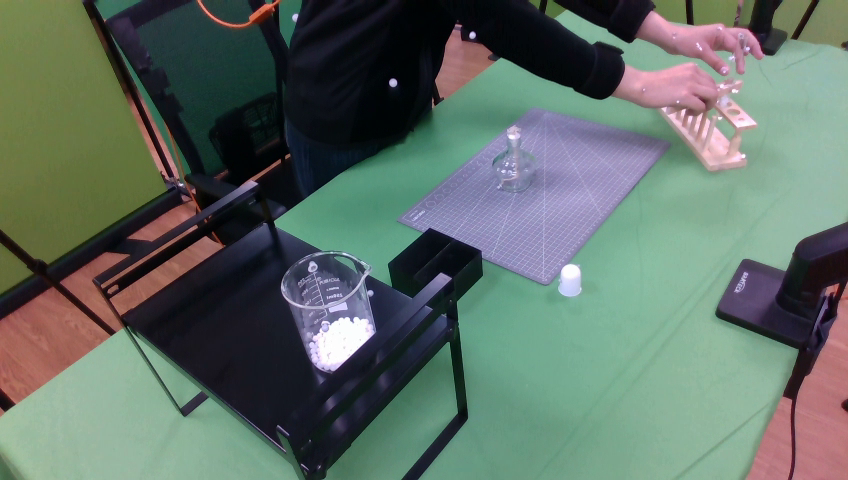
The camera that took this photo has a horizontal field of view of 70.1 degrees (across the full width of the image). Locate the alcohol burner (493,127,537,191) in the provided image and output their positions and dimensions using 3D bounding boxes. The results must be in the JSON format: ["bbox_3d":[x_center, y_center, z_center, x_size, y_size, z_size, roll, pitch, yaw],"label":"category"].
[{"bbox_3d":[0.157,-0.146,1.045,0.078,0.119,0.077,-4,43,4],"label":"alcohol burner"}]

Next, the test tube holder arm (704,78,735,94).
[{"bbox_3d":[0.503,-0.257,1.029,0.088,0.015,0.010,-29,42,-30],"label":"test tube holder arm"}]

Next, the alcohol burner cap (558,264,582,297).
[{"bbox_3d":[0.210,0.055,0.865,0.034,0.048,0.033,-4,41,4],"label":"alcohol burner cap"}]

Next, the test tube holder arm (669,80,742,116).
[{"bbox_3d":[0.470,-0.237,1.005,0.179,0.015,0.013,-24,40,-26],"label":"test tube holder arm"}]

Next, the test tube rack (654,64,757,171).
[{"bbox_3d":[0.512,-0.233,1.120,0.067,0.085,0.241,-8,41,-1],"label":"test tube rack"}]

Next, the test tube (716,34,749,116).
[{"bbox_3d":[0.523,-0.276,1.027,0.017,0.151,0.017,-3,43,3],"label":"test tube"}]

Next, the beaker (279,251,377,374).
[{"bbox_3d":[-0.083,0.070,0.569,0.084,0.101,0.073,-18,42,-13],"label":"beaker"}]
